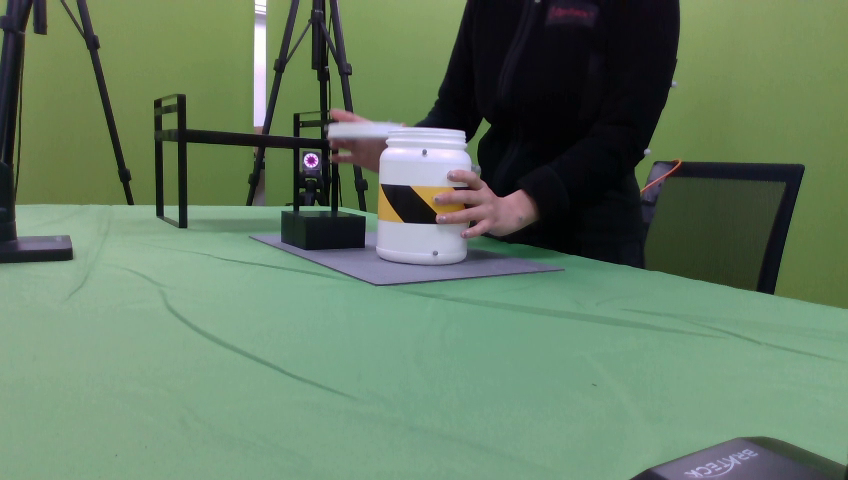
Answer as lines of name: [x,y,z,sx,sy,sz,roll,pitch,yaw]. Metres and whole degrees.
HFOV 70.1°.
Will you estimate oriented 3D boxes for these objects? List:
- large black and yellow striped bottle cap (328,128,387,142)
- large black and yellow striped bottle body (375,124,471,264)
large black and yellow striped bottle cap: [-0.092,-0.164,0.944,0.115,0.019,0.115,-2,8,1]
large black and yellow striped bottle body: [0.000,-0.066,0.852,0.131,0.184,0.130,3,7,0]
